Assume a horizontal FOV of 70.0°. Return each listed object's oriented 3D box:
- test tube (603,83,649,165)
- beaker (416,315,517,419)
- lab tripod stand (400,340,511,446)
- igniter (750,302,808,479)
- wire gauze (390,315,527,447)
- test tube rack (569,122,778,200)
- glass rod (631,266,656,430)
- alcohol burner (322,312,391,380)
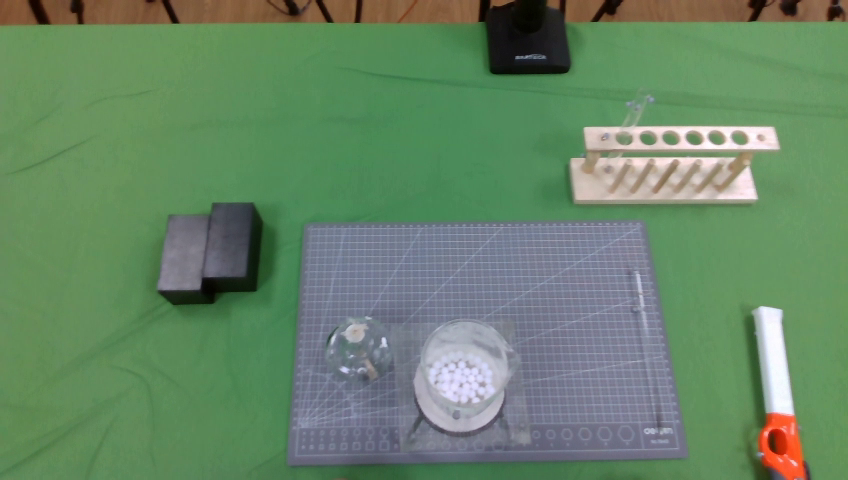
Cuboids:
[{"bbox_3d":[0.249,-0.139,0.754,0.017,0.151,0.017,0,63,0],"label":"test tube"},{"bbox_3d":[0.035,0.117,0.537,0.084,0.101,0.073,-5,65,-3],"label":"beaker"},{"bbox_3d":[0.031,0.163,0.642,0.148,0.132,0.147,0,65,1],"label":"lab tripod stand"},{"bbox_3d":[0.403,0.204,0.692,0.057,0.025,0.274,11,66,-8],"label":"igniter"},{"bbox_3d":[0.031,0.133,0.583,0.125,0.011,0.120,-4,64,0],"label":"wire gauze"},{"bbox_3d":[0.322,-0.102,0.792,0.242,0.086,0.066,0,66,-1],"label":"test tube rack"},{"bbox_3d":[0.265,0.126,0.731,0.008,0.008,0.198,1,69,-1],"label":"glass rod"},{"bbox_3d":[-0.076,0.112,0.673,0.078,0.120,0.077,0,64,0],"label":"alcohol burner"}]
